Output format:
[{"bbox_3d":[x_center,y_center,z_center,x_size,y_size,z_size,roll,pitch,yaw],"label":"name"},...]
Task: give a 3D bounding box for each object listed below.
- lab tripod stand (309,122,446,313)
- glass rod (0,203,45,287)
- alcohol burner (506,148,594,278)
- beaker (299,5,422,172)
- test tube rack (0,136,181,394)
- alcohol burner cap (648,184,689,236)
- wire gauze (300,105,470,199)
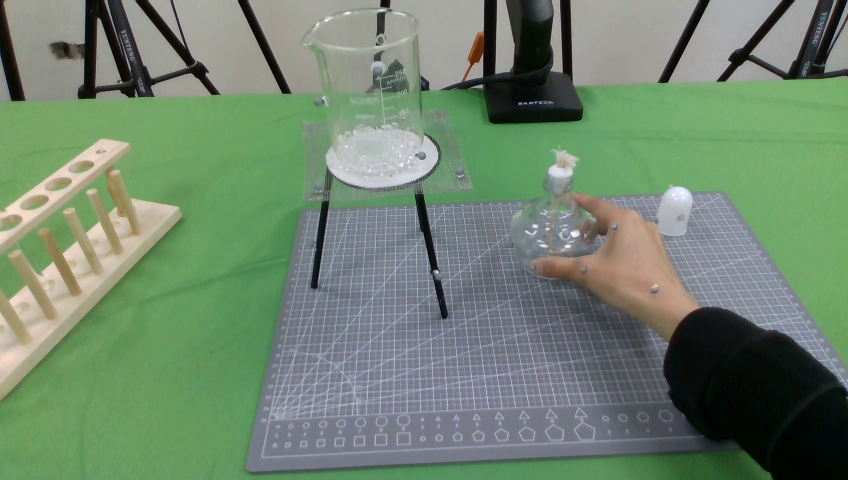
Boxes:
[{"bbox_3d":[-0.034,-0.020,0.513,0.148,0.133,0.147,-1,42,2],"label":"lab tripod stand"},{"bbox_3d":[-0.352,-0.042,0.488,0.008,0.201,0.008,-4,34,3],"label":"glass rod"},{"bbox_3d":[0.112,-0.026,0.531,0.078,0.120,0.077,-2,38,2],"label":"alcohol burner"},{"bbox_3d":[-0.041,-0.107,0.438,0.084,0.101,0.073,-6,40,-4],"label":"beaker"},{"bbox_3d":[-0.323,0.009,0.530,0.066,0.086,0.241,11,42,14],"label":"test tube rack"},{"bbox_3d":[0.240,-0.032,0.590,0.034,0.048,0.033,-1,40,1],"label":"alcohol burner cap"},{"bbox_3d":[-0.035,-0.069,0.470,0.125,0.011,0.120,-8,39,-3],"label":"wire gauze"}]
